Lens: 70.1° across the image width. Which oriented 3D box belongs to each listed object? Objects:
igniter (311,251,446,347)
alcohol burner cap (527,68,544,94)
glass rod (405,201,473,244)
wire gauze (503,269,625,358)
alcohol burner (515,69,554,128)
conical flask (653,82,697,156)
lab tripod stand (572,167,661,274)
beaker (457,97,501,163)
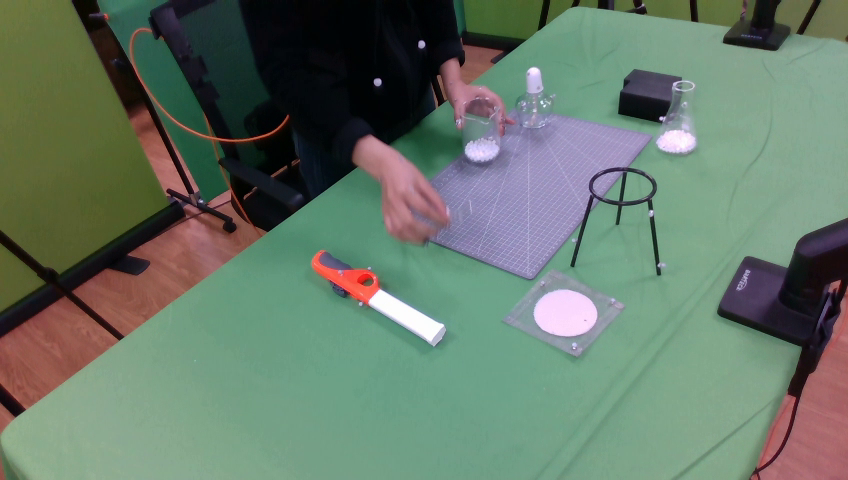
[{"bbox_3d":[-0.078,0.081,0.899,0.274,0.025,0.057,27,63,35],"label":"igniter"},{"bbox_3d":[0.216,-0.312,1.179,0.034,0.048,0.033,-9,40,9],"label":"alcohol burner cap"},{"bbox_3d":[0.019,-0.023,0.920,0.008,0.008,0.199,-45,8,-34],"label":"glass rod"},{"bbox_3d":[0.194,0.100,0.840,0.120,0.011,0.125,27,54,36],"label":"wire gauze"},{"bbox_3d":[0.221,-0.285,1.203,0.078,0.119,0.077,-4,39,4],"label":"alcohol burner"},{"bbox_3d":[0.454,-0.218,1.077,0.075,0.122,0.075,-5,40,5],"label":"conical flask"},{"bbox_3d":[0.284,-0.030,0.879,0.148,0.132,0.147,-7,38,6],"label":"lab tripod stand"},{"bbox_3d":[0.105,-0.198,1.107,0.074,0.101,0.083,-17,43,-6],"label":"beaker"}]
